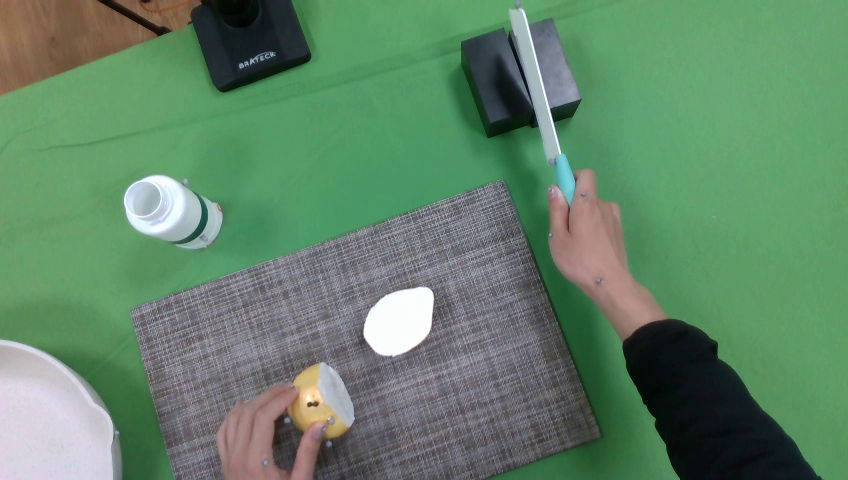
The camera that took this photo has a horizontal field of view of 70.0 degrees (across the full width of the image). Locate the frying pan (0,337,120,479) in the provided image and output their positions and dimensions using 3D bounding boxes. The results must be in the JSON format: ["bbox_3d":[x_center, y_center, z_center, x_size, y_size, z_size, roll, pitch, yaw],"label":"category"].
[{"bbox_3d":[-0.413,0.337,0.602,0.307,0.103,0.484,-24,73,-1],"label":"frying pan"}]

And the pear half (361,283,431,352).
[{"bbox_3d":[-0.025,0.085,0.657,0.088,0.031,0.070,-42,65,-16],"label":"pear half"}]

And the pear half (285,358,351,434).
[{"bbox_3d":[-0.115,0.163,0.610,0.056,0.110,0.076,-32,76,-2],"label":"pear half"}]

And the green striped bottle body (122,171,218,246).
[{"bbox_3d":[-0.271,-0.034,0.644,0.063,0.119,0.063,0,80,3],"label":"green striped bottle body"}]

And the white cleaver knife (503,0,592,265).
[{"bbox_3d":[0.130,-0.108,0.634,0.021,0.065,0.287,-17,103,1],"label":"white cleaver knife"}]
